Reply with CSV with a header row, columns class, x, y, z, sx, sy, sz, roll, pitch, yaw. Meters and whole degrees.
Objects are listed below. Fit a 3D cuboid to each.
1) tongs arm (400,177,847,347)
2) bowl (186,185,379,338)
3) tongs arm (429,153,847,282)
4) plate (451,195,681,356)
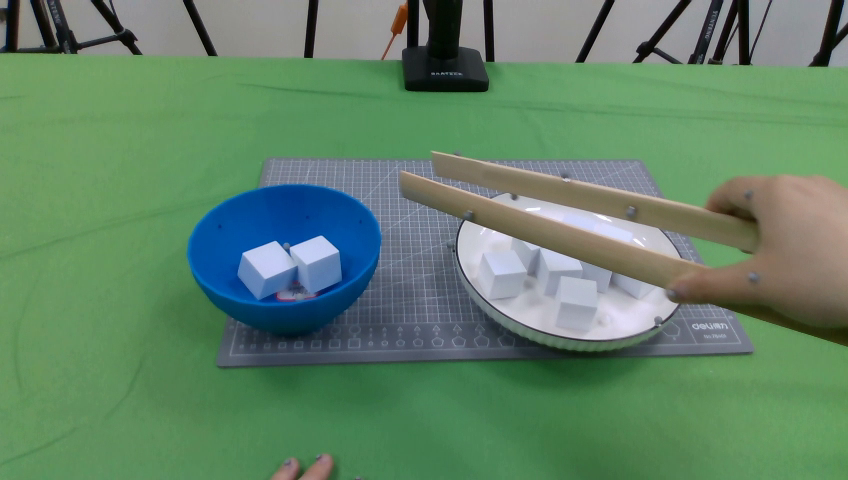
class,x,y,z,sx,sy,sz,roll,pitch,yaw
tongs arm,0.142,0.012,0.383,0.384,0.028,0.028,18,40,30
bowl,-0.113,0.028,0.506,0.151,0.077,0.150,3,40,-2
tongs arm,0.157,-0.003,0.400,0.382,0.027,0.050,16,42,27
plate,0.127,0.028,0.558,0.208,0.039,0.205,3,40,-2
